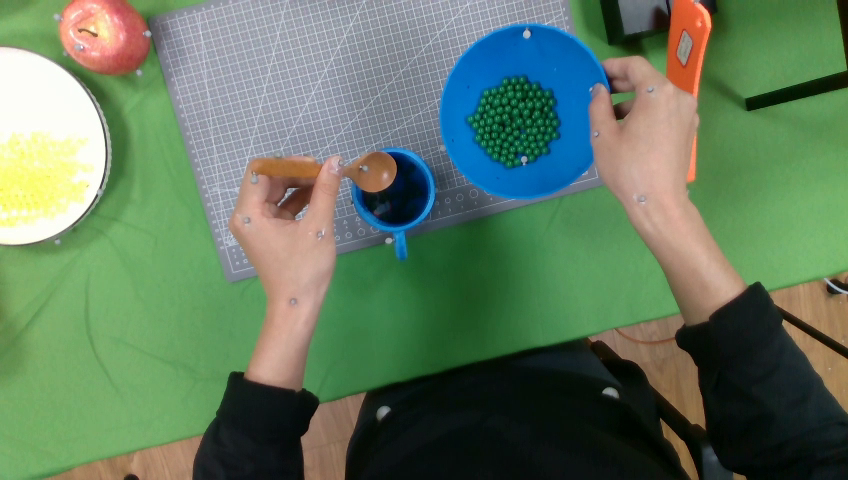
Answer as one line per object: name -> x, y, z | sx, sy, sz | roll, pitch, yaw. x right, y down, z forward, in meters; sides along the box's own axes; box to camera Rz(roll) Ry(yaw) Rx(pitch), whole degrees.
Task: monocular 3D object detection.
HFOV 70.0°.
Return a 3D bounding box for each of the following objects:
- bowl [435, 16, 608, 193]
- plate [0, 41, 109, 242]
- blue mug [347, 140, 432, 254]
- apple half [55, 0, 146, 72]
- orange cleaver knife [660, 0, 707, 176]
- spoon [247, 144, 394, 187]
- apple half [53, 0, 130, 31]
bowl -> 0.092, -0.121, 0.561 | 0.151, 0.077, 0.151 | 2, 100, 14
plate -> -0.439, -0.102, 0.645 | 0.209, 0.038, 0.209 | 0, 97, -3
blue mug -> -0.033, -0.043, 0.638 | 0.082, 0.105, 0.116 | -7, 96, -2
apple half -> -0.323, -0.202, 0.624 | 0.081, 0.074, 0.053 | -30, 101, -3
orange cleaver knife -> 0.274, -0.169, 0.652 | 0.012, 0.076, 0.213 | -16, 127, -2
spoon -> -0.078, -0.064, 0.510 | 0.021, 0.194, 0.042 | 24, 104, 19
apple half -> -0.343, -0.236, 0.617 | 0.081, 0.081, 0.033 | -29, 101, 1
